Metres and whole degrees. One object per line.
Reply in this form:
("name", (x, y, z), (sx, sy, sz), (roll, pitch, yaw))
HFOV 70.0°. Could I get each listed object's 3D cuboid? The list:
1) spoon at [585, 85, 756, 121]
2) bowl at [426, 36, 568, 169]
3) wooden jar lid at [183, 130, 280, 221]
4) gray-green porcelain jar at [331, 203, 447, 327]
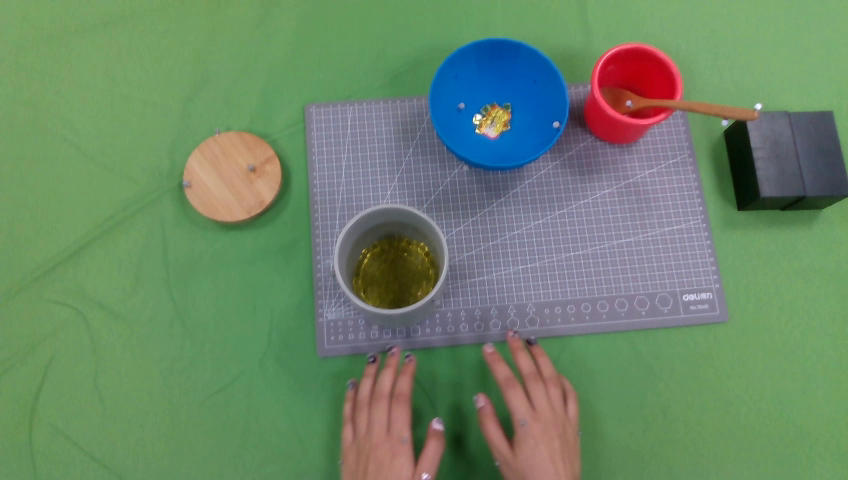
("spoon", (0.254, -0.143, 0.646), (0.022, 0.192, 0.041), (40, 79, -38))
("bowl", (0.077, -0.140, 0.676), (0.151, 0.077, 0.150), (0, 76, -1))
("wooden jar lid", (-0.217, -0.072, 0.688), (0.108, 0.021, 0.108), (0, 76, 0))
("gray-green porcelain jar", (-0.032, 0.031, 0.609), (0.106, 0.127, 0.105), (0, 76, -1))
